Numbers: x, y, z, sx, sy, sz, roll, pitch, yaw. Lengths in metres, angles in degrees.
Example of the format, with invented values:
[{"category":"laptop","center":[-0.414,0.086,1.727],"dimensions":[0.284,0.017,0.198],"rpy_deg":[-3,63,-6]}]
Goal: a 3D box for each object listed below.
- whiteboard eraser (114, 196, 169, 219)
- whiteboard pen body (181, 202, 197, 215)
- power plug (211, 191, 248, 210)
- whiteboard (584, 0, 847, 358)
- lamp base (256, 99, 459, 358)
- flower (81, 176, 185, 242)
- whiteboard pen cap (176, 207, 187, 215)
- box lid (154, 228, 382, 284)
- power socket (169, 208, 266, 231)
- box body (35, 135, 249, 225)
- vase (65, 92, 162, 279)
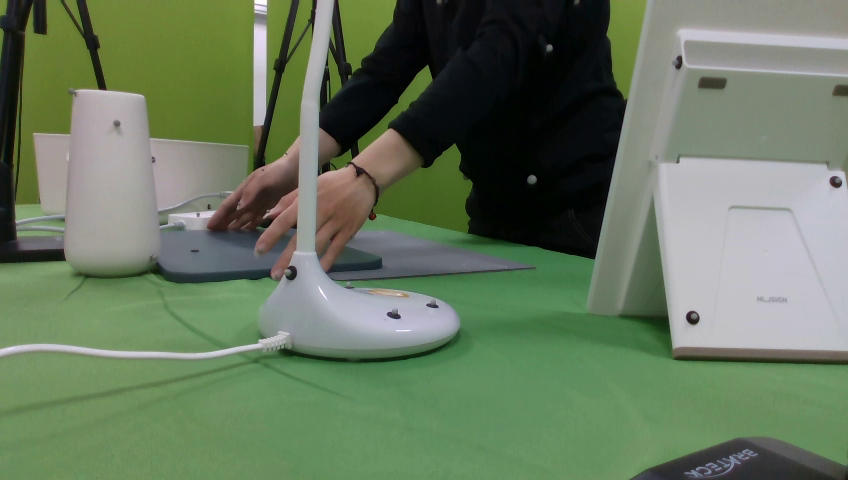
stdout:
[{"category":"whiteboard eraser","center":[-0.546,-0.064,1.174],"dimensions":[0.055,0.042,0.113],"rpy_deg":[4,5,4]},{"category":"whiteboard pen body","center":[-0.519,-0.069,1.331],"dimensions":[0.017,0.017,0.140],"rpy_deg":[1,10,-11]},{"category":"power plug","center":[-0.384,-0.071,1.206],"dimensions":[0.072,0.052,0.035],"rpy_deg":[1,7,27]},{"category":"whiteboard","center":[0.269,-0.034,0.466],"dimensions":[0.217,0.305,0.143],"rpy_deg":[2,27,-1]},{"category":"lamp base","center":[-0.055,-0.013,0.463],"dimensions":[0.160,0.180,0.180],"rpy_deg":[6,11,27]},{"category":"flower","center":[-0.612,-0.068,1.287],"dimensions":[0.044,0.038,0.361],"rpy_deg":[-6,22,10]},{"category":"whiteboard pen cap","center":[-0.511,-0.062,1.273],"dimensions":[0.018,0.018,0.033],"rpy_deg":[1,9,-10]},{"category":"box lid","center":[-0.250,0.014,0.853],"dimensions":[0.265,0.015,0.369],"rpy_deg":[-3,9,-32]},{"category":"power socket","center":[-0.379,-0.038,1.129],"dimensions":[0.072,0.032,0.227],"rpy_deg":[4,8,18]},{"category":"box body","center":[-0.561,-0.127,1.258],"dimensions":[0.254,0.160,0.365],"rpy_deg":[4,8,13]},{"category":"vase","center":[-0.347,-0.060,0.673],"dimensions":[0.098,0.200,0.098],"rpy_deg":[1,7,0]}]
